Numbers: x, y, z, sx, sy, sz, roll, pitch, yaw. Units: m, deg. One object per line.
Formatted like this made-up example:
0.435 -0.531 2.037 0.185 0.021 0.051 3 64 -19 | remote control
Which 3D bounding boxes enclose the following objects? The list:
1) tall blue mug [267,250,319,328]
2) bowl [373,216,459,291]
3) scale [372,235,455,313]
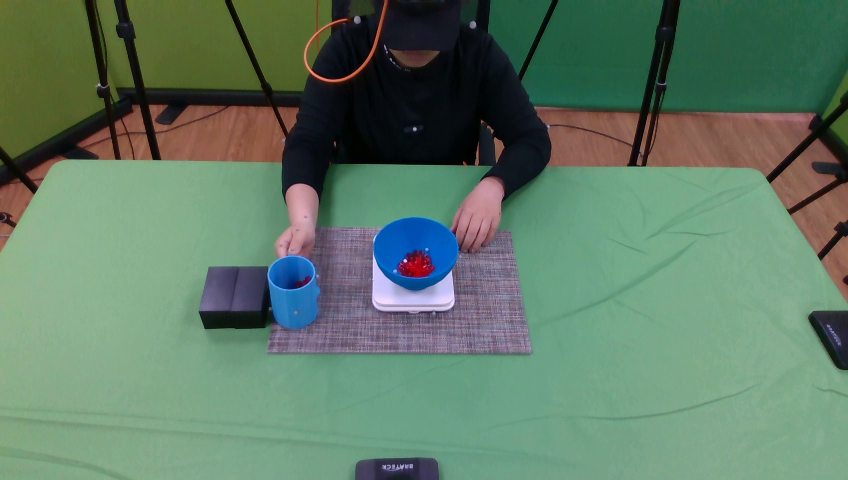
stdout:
-0.231 0.078 1.036 0.078 0.108 0.106 -26 56 -27 | tall blue mug
-0.015 0.036 1.075 0.151 0.077 0.150 1 46 -1 | bowl
-0.022 0.051 1.134 0.149 0.032 0.199 1 46 -4 | scale
